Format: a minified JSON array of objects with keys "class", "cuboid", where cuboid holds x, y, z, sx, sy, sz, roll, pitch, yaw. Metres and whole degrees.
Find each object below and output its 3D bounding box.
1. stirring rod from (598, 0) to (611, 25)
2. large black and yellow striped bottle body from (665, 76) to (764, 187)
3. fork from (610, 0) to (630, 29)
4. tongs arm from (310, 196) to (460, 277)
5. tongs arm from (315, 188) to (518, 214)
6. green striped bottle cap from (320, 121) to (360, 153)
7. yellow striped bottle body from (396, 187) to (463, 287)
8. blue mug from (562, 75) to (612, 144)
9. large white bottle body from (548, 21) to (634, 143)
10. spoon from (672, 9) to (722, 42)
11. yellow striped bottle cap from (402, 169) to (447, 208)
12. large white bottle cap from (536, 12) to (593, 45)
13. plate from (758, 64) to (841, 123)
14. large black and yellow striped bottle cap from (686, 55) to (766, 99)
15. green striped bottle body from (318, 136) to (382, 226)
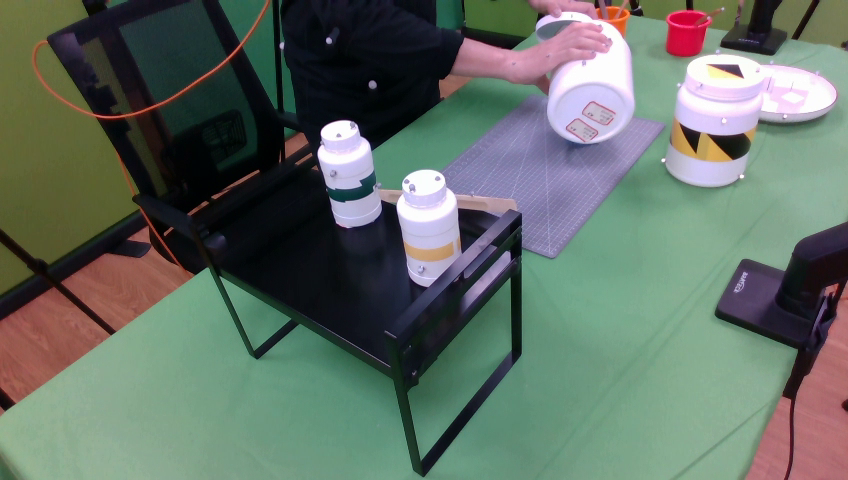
[{"class":"stirring rod","cuboid":[0.437,-0.551,1.462,0.014,0.006,0.175,-11,83,1]},{"class":"large black and yellow striped bottle body","cuboid":[0.482,-0.196,1.008,0.131,0.185,0.130,-4,41,4]},{"class":"fork","cuboid":[0.480,-0.556,1.453,0.028,0.019,0.207,41,103,40]},{"class":"tongs arm","cuboid":[-0.078,-0.012,0.944,0.028,0.028,0.384,-43,39,-22]},{"class":"tongs arm","cuboid":[-0.028,-0.060,0.988,0.382,0.027,0.051,9,45,36]},{"class":"green striped bottle cap","cuboid":[-0.097,-0.119,0.699,0.044,0.020,0.044,-4,39,3]},{"class":"yellow striped bottle body","cuboid":[0.006,-0.013,0.638,0.063,0.121,0.062,-5,41,4]},{"class":"blue mug","cuboid":[0.298,-0.240,1.143,0.081,0.106,0.117,30,53,36]},{"class":"large white bottle body","cuboid":[0.273,-0.264,0.992,0.130,0.131,0.184,3,49,12]},{"class":"spoon","cuboid":[0.606,-0.476,1.345,0.042,0.021,0.193,-6,-3,-2]},{"class":"yellow striped bottle cap","cuboid":[0.000,-0.052,0.605,0.044,0.019,0.044,-5,43,5]},{"class":"large white bottle cap","cuboid":[0.280,-0.418,1.200,0.114,0.115,0.018,4,85,13]},{"class":"plate","cuboid":[0.694,-0.283,1.189,0.207,0.039,0.206,-4,40,4]},{"class":"large black and yellow striped bottle cap","cuboid":[0.474,-0.258,0.952,0.115,0.019,0.114,-5,41,5]},{"class":"green striped bottle body","cuboid":[-0.090,-0.080,0.733,0.063,0.120,0.063,-5,41,4]}]
